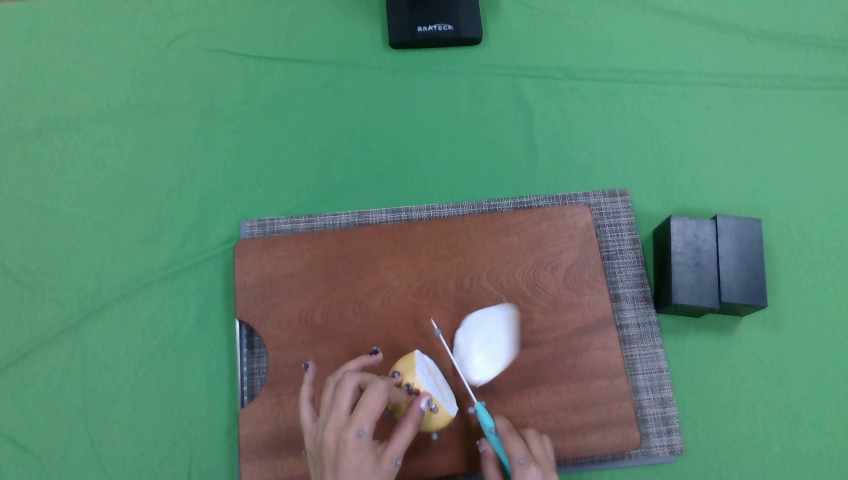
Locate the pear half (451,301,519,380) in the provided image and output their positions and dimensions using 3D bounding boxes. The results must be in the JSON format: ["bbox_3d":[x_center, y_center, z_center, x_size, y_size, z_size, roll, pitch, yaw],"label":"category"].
[{"bbox_3d":[0.069,0.102,0.618,0.088,0.031,0.069,-49,56,1],"label":"pear half"}]

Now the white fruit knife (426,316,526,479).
[{"bbox_3d":[0.051,0.165,0.591,0.016,0.027,0.206,-28,78,-9],"label":"white fruit knife"}]

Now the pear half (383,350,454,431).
[{"bbox_3d":[-0.013,0.146,0.566,0.056,0.110,0.076,-39,71,2],"label":"pear half"}]
